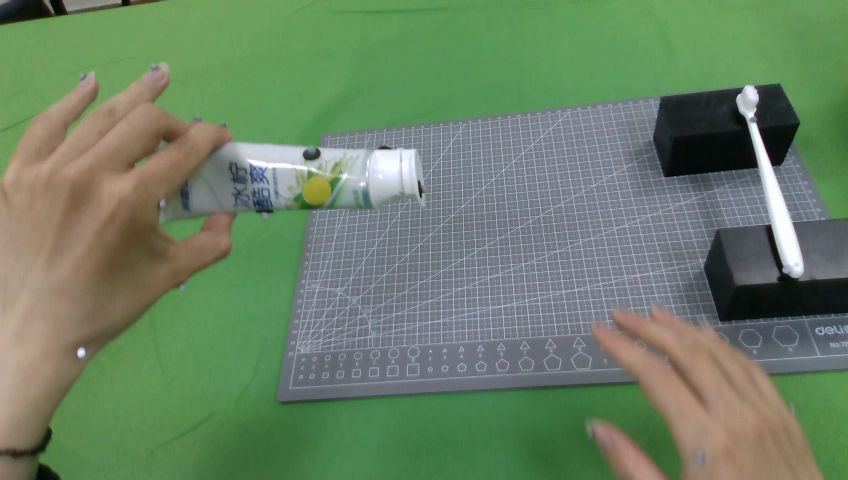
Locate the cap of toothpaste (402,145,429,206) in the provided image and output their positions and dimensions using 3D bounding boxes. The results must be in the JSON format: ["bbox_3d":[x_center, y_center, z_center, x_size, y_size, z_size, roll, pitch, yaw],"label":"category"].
[{"bbox_3d":[-0.004,-0.037,0.350,0.011,0.038,0.037,-10,52,8],"label":"cap of toothpaste"}]

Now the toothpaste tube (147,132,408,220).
[{"bbox_3d":[-0.085,-0.039,0.362,0.165,0.055,0.034,0,15,8],"label":"toothpaste tube"}]

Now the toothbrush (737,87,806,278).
[{"bbox_3d":[0.261,-0.050,0.456,0.014,0.017,0.180,7,56,0],"label":"toothbrush"}]
